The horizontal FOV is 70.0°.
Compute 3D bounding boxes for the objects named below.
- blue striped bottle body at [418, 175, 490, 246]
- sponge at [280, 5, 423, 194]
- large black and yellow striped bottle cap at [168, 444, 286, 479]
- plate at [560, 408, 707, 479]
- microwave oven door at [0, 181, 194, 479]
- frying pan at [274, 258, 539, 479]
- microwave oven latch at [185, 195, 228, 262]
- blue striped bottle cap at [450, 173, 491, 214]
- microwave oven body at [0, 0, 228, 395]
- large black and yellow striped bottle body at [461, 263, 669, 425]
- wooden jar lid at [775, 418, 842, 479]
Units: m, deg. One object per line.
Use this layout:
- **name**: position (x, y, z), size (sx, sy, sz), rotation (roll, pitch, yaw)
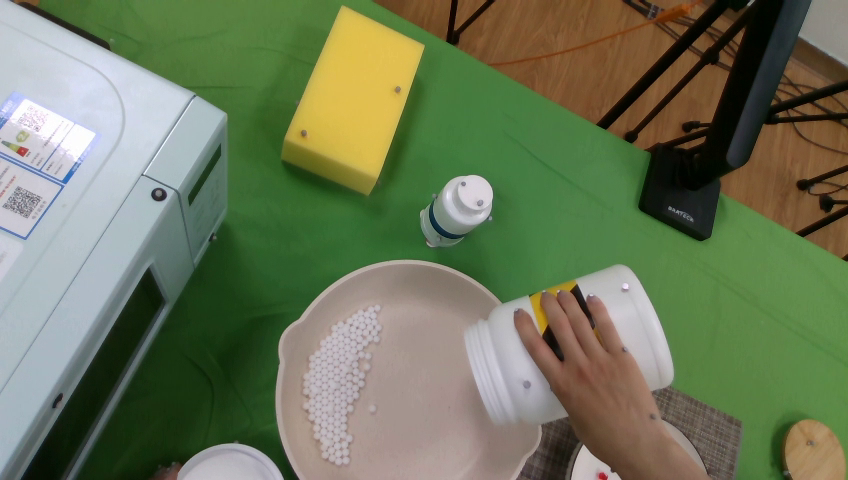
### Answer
- **blue striped bottle body**: position (0.039, -0.038, 0.738), size (0.063, 0.121, 0.062), rotation (5, 72, -16)
- **sponge**: position (-0.090, -0.178, 0.769), size (0.118, 0.061, 0.205), rotation (21, 69, -11)
- **large black and yellow striped bottle cap**: position (-0.189, 0.248, 0.583), size (0.115, 0.019, 0.114), rotation (17, 27, -9)
- **plate**: position (0.256, 0.316, 0.747), size (0.210, 0.038, 0.208), rotation (5, 72, -17)
- **microwave oven door**: position (-0.295, 0.140, 0.488), size (0.039, 0.244, 0.354), rotation (26, 67, -9)
- **frying pan**: position (-0.051, 0.253, 0.629), size (0.308, 0.103, 0.484), rotation (25, 60, -7)
- **microwave oven latch**: position (-0.244, -0.018, 0.663), size (0.030, 0.029, 0.079), rotation (29, 68, -9)
- **blue striped bottle cap**: position (0.054, -0.053, 0.692), size (0.045, 0.020, 0.044), rotation (5, 74, -17)
- **microwave oven body**: position (-0.410, 0.041, 0.485), size (0.327, 0.260, 0.439), rotation (27, 68, -10)
- **large black and yellow striped bottle body**: position (0.142, 0.113, 0.631), size (0.184, 0.131, 0.130), rotation (-20, 79, 9)
- **wooden jar lid**: position (0.543, 0.308, 0.859), size (0.109, 0.021, 0.108), rotation (5, 74, -16)
